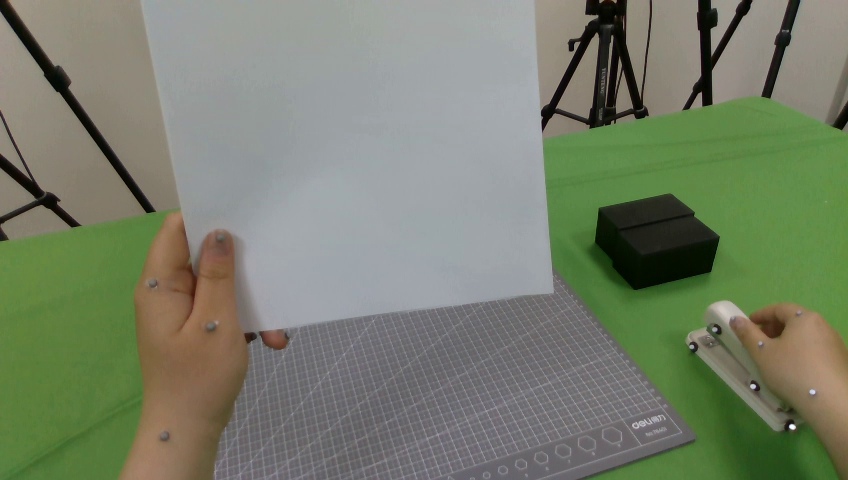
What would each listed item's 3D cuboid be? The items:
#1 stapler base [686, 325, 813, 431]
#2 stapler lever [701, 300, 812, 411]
[{"bbox_3d":[0.303,0.120,0.571,0.041,0.024,0.129,-16,38,-12],"label":"stapler base"},{"bbox_3d":[0.302,0.101,0.556,0.027,0.040,0.116,-16,37,-12],"label":"stapler lever"}]
